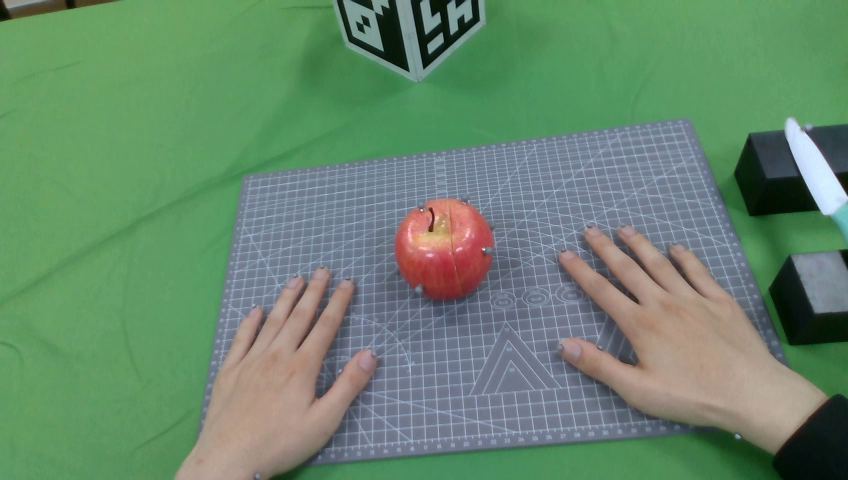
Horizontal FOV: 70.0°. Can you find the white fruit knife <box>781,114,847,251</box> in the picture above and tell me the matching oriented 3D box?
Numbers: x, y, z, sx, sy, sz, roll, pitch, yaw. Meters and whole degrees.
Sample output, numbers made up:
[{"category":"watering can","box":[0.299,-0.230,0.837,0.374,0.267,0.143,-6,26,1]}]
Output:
[{"category":"white fruit knife","box":[0.308,-0.023,0.449,0.027,0.016,0.205,-11,54,12]}]

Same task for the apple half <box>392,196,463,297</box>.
[{"category":"apple half","box":[0.002,0.009,0.499,0.053,0.075,0.080,-9,59,9]}]

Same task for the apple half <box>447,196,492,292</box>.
[{"category":"apple half","box":[0.040,0.003,0.495,0.033,0.082,0.080,-10,54,9]}]
